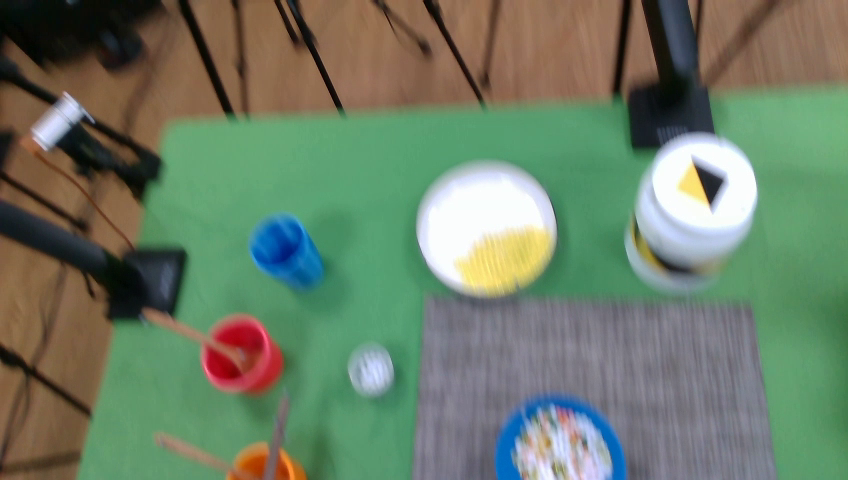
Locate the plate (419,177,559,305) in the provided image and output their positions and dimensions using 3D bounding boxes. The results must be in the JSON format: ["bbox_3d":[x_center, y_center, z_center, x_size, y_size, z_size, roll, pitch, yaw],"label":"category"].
[{"bbox_3d":[0.097,0.002,0.911,0.209,0.038,0.207,-4,65,8],"label":"plate"}]

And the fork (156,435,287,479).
[{"bbox_3d":[-0.242,0.292,0.770,0.209,0.018,0.028,34,72,-23],"label":"fork"}]

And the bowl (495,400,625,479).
[{"bbox_3d":[0.164,0.278,0.742,0.151,0.077,0.150,-4,64,9],"label":"bowl"}]

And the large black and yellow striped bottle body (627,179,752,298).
[{"bbox_3d":[0.344,-0.012,0.793,0.130,0.185,0.129,-4,64,8],"label":"large black and yellow striped bottle body"}]

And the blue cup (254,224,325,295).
[{"bbox_3d":[-0.193,0.039,0.908,0.092,0.101,0.092,-5,65,10],"label":"blue cup"}]

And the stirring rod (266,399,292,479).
[{"bbox_3d":[-0.189,0.289,0.759,0.014,0.006,0.175,1,65,12],"label":"stirring rod"}]

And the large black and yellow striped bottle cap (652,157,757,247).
[{"bbox_3d":[0.331,-0.047,0.717,0.115,0.019,0.114,-4,64,9],"label":"large black and yellow striped bottle cap"}]

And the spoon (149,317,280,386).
[{"bbox_3d":[-0.290,0.153,0.848,0.195,0.021,0.041,34,66,-23],"label":"spoon"}]

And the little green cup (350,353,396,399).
[{"bbox_3d":[-0.069,0.194,0.849,0.061,0.039,0.061,-4,65,9],"label":"little green cup"}]
